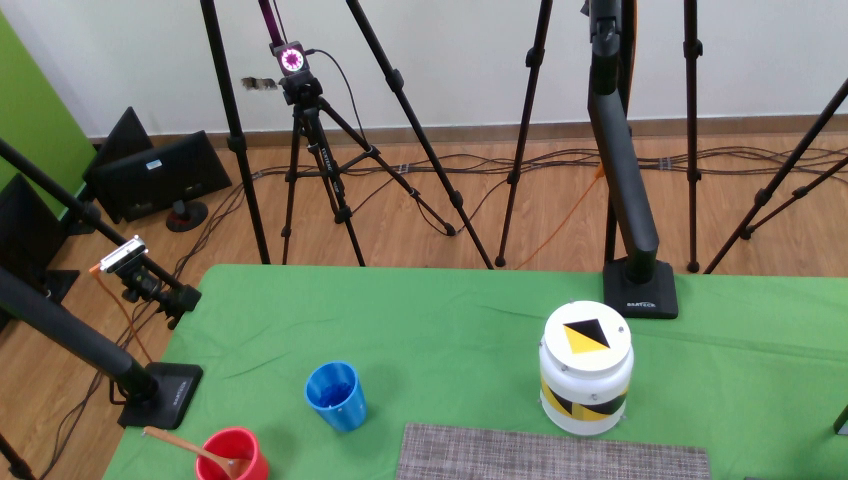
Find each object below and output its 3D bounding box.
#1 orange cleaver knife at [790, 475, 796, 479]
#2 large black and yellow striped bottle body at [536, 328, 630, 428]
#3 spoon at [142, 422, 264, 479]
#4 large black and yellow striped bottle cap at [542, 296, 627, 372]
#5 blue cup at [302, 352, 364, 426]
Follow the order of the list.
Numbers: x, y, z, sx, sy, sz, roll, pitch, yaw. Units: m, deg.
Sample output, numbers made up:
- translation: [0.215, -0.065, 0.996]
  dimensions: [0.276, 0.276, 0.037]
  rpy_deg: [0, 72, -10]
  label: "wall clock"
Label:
- translation: [0.454, 0.397, 0.729]
  dimensions: [0.012, 0.078, 0.210]
  rpy_deg: [-1, 77, 21]
  label: "orange cleaver knife"
- translation: [0.233, 0.182, 0.898]
  dimensions: [0.130, 0.186, 0.129]
  rpy_deg: [-6, 48, 7]
  label: "large black and yellow striped bottle body"
- translation: [-0.333, 0.318, 0.921]
  dimensions: [0.195, 0.021, 0.041]
  rpy_deg: [33, 53, -18]
  label: "spoon"
- translation: [0.221, 0.127, 0.835]
  dimensions: [0.115, 0.019, 0.114]
  rpy_deg: [-7, 48, 8]
  label: "large black and yellow striped bottle cap"
- translation: [-0.137, 0.249, 0.970]
  dimensions: [0.092, 0.101, 0.091]
  rpy_deg: [-7, 47, 8]
  label: "blue cup"
